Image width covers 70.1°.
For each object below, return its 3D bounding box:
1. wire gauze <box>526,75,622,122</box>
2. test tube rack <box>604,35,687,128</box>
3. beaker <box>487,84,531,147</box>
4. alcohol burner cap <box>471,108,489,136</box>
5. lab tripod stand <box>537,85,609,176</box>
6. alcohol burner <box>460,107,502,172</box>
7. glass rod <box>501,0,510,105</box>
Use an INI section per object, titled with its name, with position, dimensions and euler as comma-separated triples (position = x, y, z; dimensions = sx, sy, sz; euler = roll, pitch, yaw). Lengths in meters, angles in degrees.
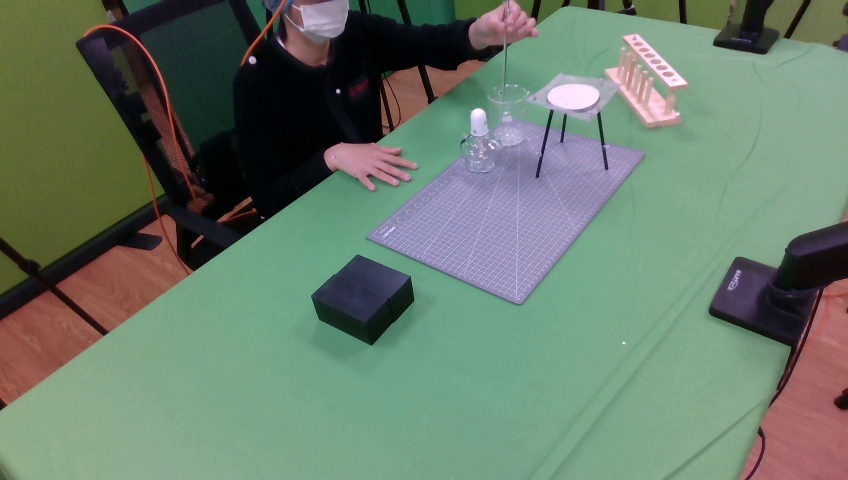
[wire gauze]
position = 0.255, -0.248, 1.030
dimensions = 0.124, 0.011, 0.122
euler = 24, 51, 32
[test tube rack]
position = 0.447, -0.330, 1.241
dimensions = 0.067, 0.085, 0.241
euler = -9, 41, -2
[beaker]
position = 0.163, -0.237, 1.161
dimensions = 0.084, 0.101, 0.073
euler = -9, 41, -3
[alcohol burner cap]
position = 0.098, -0.211, 1.074
dimensions = 0.034, 0.048, 0.033
euler = -6, 42, 6
[lab tripod stand]
position = 0.259, -0.192, 1.068
dimensions = 0.148, 0.132, 0.147
euler = -4, 42, 4
[alcohol burner]
position = 0.102, -0.185, 1.098
dimensions = 0.078, 0.119, 0.077
euler = -6, 40, 5
[glass rod]
position = 0.147, -0.337, 1.088
dimensions = 0.008, 0.200, 0.008
euler = -1, 35, 1
